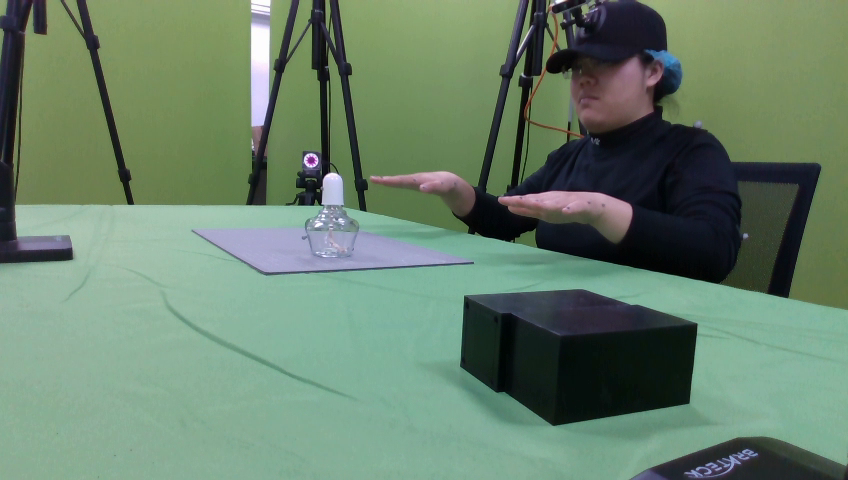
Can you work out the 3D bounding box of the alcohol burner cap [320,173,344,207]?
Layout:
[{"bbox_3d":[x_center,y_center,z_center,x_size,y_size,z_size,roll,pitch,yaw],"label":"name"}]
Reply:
[{"bbox_3d":[-0.129,-0.071,0.848,0.034,0.048,0.034,1,2,0],"label":"alcohol burner cap"}]

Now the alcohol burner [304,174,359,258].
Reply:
[{"bbox_3d":[-0.130,-0.035,0.851,0.078,0.119,0.078,2,5,0],"label":"alcohol burner"}]
